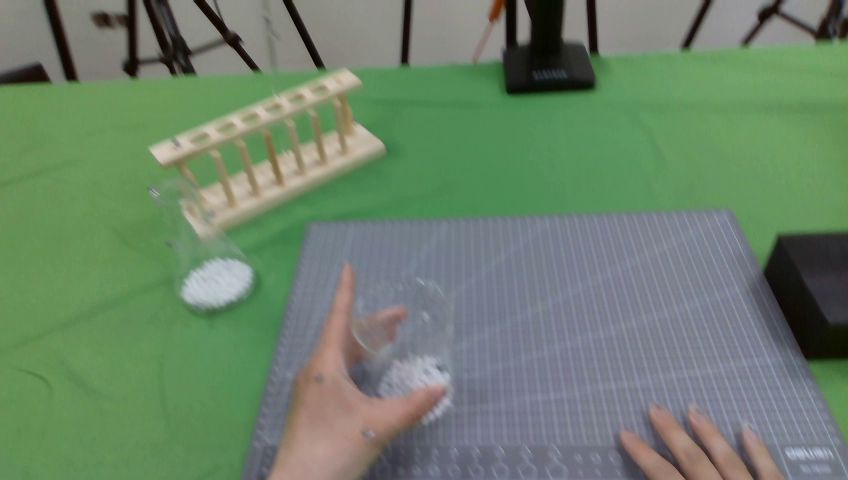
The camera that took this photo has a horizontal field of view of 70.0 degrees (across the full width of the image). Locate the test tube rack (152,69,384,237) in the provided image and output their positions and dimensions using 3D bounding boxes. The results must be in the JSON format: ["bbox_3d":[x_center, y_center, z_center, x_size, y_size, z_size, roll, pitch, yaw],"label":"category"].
[{"bbox_3d":[-0.168,-0.105,0.693,0.242,0.086,0.066,-30,49,-23],"label":"test tube rack"}]

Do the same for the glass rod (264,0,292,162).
[{"bbox_3d":[-0.161,-0.175,0.669,0.008,0.201,0.008,1,37,0],"label":"glass rod"}]

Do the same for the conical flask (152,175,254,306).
[{"bbox_3d":[-0.210,-0.002,0.564,0.075,0.123,0.074,-3,44,3],"label":"conical flask"}]

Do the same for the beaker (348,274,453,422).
[{"bbox_3d":[-0.012,0.085,0.468,0.073,0.101,0.083,21,49,24],"label":"beaker"}]
